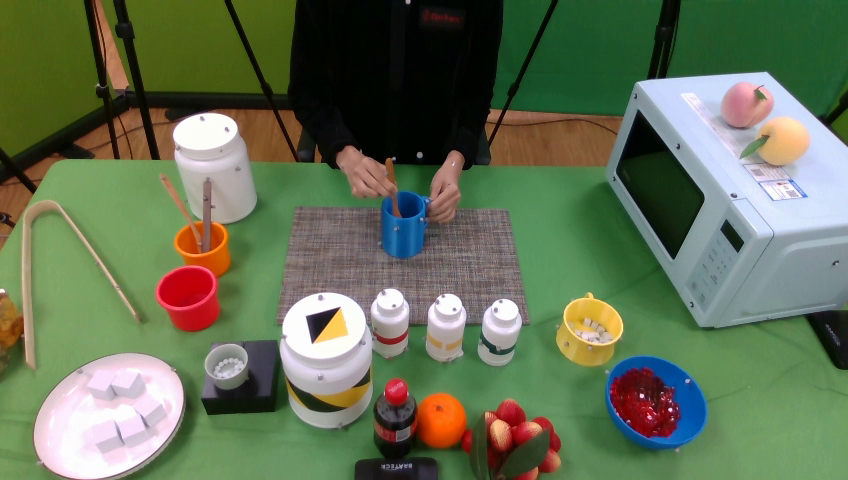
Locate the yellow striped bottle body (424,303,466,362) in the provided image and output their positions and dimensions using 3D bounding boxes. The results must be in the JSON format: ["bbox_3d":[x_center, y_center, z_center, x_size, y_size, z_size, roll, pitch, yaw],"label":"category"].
[{"bbox_3d":[0.035,0.143,0.995,0.063,0.121,0.062,3,46,-3],"label":"yellow striped bottle body"}]

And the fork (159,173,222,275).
[{"bbox_3d":[-0.427,-0.029,1.103,0.028,0.018,0.207,-31,99,-30],"label":"fork"}]

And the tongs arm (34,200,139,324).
[{"bbox_3d":[-0.622,0.034,1.105,0.051,0.026,0.382,-32,55,-26],"label":"tongs arm"}]

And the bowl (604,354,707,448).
[{"bbox_3d":[0.346,0.261,0.937,0.151,0.077,0.150,2,46,-2],"label":"bowl"}]

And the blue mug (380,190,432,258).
[{"bbox_3d":[-0.030,-0.037,1.169,0.116,0.106,0.082,-29,55,-28],"label":"blue mug"}]

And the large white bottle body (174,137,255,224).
[{"bbox_3d":[-0.408,-0.136,1.183,0.131,0.185,0.130,2,46,-2],"label":"large white bottle body"}]

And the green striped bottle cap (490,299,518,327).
[{"bbox_3d":[0.127,0.115,0.958,0.044,0.020,0.044,3,48,-3],"label":"green striped bottle cap"}]

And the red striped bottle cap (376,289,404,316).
[{"bbox_3d":[-0.054,0.098,0.958,0.044,0.018,0.044,0,48,0],"label":"red striped bottle cap"}]

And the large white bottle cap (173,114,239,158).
[{"bbox_3d":[-0.403,-0.195,1.122,0.115,0.018,0.114,2,47,-2],"label":"large white bottle cap"}]

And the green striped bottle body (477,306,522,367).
[{"bbox_3d":[0.124,0.151,0.996,0.063,0.120,0.063,2,46,-2],"label":"green striped bottle body"}]

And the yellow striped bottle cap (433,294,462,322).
[{"bbox_3d":[0.037,0.107,0.958,0.044,0.019,0.044,2,45,-2],"label":"yellow striped bottle cap"}]

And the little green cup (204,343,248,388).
[{"bbox_3d":[-0.294,0.190,0.909,0.061,0.039,0.061,1,48,-1],"label":"little green cup"}]

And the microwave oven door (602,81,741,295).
[{"bbox_3d":[0.456,-0.107,1.162,0.039,0.245,0.353,-7,47,-11],"label":"microwave oven door"}]

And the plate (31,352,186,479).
[{"bbox_3d":[-0.459,0.262,0.898,0.209,0.038,0.208,2,46,-2],"label":"plate"}]

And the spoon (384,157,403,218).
[{"bbox_3d":[-0.056,-0.073,1.110,0.041,0.195,0.021,-4,40,4],"label":"spoon"}]

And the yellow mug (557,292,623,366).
[{"bbox_3d":[0.285,0.145,1.051,0.100,0.064,0.130,7,45,4],"label":"yellow mug"}]

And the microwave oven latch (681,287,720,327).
[{"bbox_3d":[0.494,0.119,1.087,0.030,0.029,0.078,-6,46,-9],"label":"microwave oven latch"}]

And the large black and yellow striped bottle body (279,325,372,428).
[{"bbox_3d":[-0.143,0.181,0.900,0.131,0.185,0.130,2,46,-2],"label":"large black and yellow striped bottle body"}]

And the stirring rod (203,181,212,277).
[{"bbox_3d":[-0.396,-0.021,1.108,0.014,0.006,0.176,-1,89,-1],"label":"stirring rod"}]

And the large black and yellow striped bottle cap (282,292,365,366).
[{"bbox_3d":[-0.139,0.121,0.841,0.115,0.019,0.114,3,47,-3],"label":"large black and yellow striped bottle cap"}]

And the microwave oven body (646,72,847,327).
[{"bbox_3d":[0.607,-0.090,1.164,0.326,0.261,0.438,-7,46,-10],"label":"microwave oven body"}]

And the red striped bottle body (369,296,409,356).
[{"bbox_3d":[-0.058,0.134,0.997,0.063,0.120,0.062,4,47,-4],"label":"red striped bottle body"}]

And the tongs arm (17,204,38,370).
[{"bbox_3d":[-0.698,0.069,1.068,0.028,0.028,0.385,-20,50,-13],"label":"tongs arm"}]
